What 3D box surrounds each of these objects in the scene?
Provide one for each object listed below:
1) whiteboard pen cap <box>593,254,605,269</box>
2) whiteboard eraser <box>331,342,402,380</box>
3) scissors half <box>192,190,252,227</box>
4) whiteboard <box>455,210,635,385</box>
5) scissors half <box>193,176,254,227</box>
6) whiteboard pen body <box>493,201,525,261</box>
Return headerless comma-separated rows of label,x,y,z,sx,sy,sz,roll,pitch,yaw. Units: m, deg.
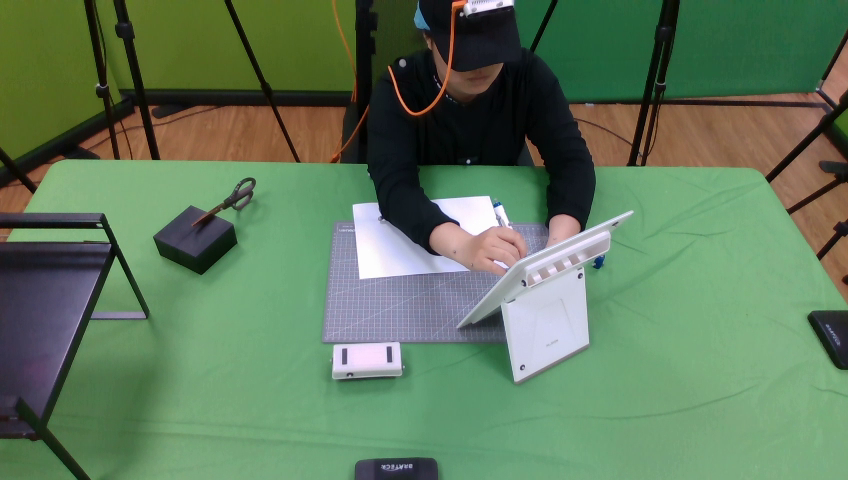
whiteboard pen cap,0.340,0.041,1.179,0.018,0.033,0.018,2,46,-1
whiteboard eraser,-0.094,0.198,0.986,0.113,0.042,0.055,-2,44,-6
scissors half,-0.393,-0.060,1.187,0.013,0.040,0.175,25,29,12
whiteboard,0.211,0.111,0.955,0.217,0.306,0.143,-20,71,-23
scissors half,-0.388,-0.075,1.174,0.013,0.040,0.174,29,47,8
whiteboard pen body,0.148,0.002,1.001,0.017,0.017,0.140,-25,91,-25
